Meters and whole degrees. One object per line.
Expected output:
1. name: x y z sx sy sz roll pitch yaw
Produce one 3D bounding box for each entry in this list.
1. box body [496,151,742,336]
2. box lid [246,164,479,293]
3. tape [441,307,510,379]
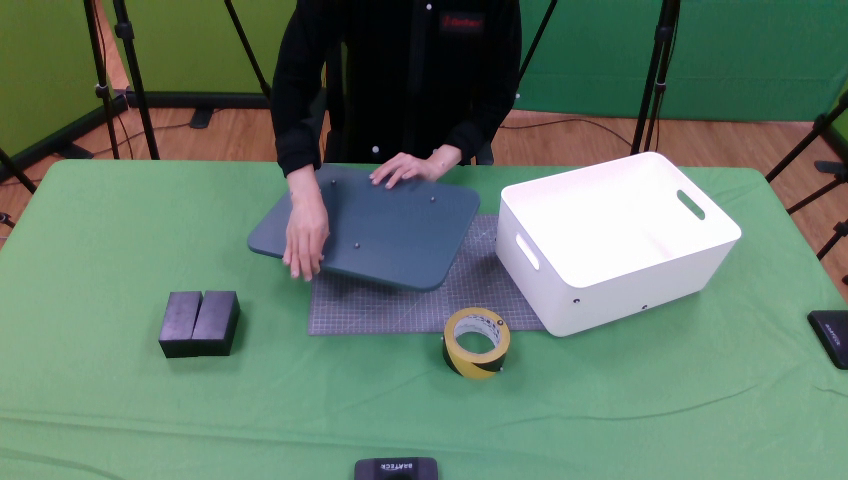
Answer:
1. box body: 0.340 0.003 1.118 0.364 0.161 0.252 -15 49 -18
2. box lid: -0.108 -0.035 1.094 0.370 0.015 0.262 12 46 17
3. tape: 0.087 0.172 1.014 0.117 0.053 0.116 2 48 -2
